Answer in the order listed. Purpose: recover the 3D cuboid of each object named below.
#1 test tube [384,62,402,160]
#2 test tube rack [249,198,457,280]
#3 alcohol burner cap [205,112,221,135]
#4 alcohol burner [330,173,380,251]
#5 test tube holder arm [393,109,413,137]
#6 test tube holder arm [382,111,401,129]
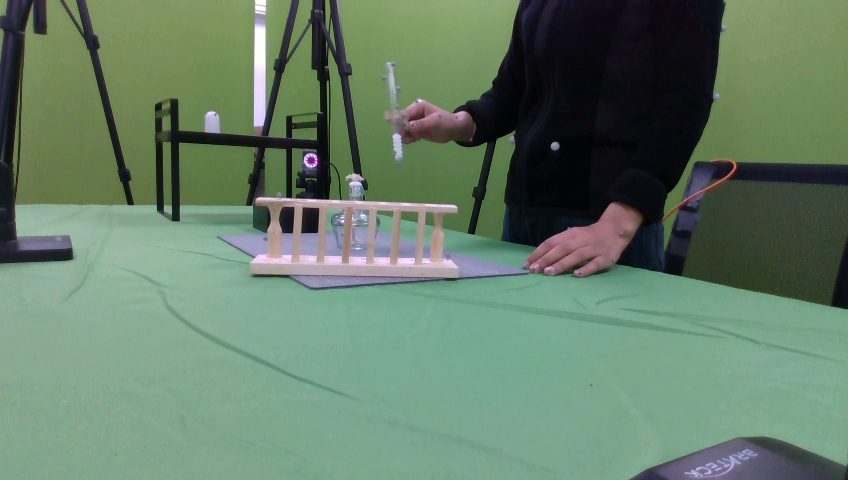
[{"bbox_3d":[-0.048,-0.198,0.931,0.017,0.150,0.017,-5,1,0],"label":"test tube"},{"bbox_3d":[-0.082,-0.002,0.733,0.243,0.085,0.066,2,8,-7],"label":"test tube rack"},{"bbox_3d":[-0.443,-0.245,1.270,0.034,0.048,0.034,3,8,0],"label":"alcohol burner cap"},{"bbox_3d":[-0.107,-0.044,0.938,0.078,0.119,0.078,1,6,0],"label":"alcohol burner"},{"bbox_3d":[-0.034,-0.191,0.998,0.013,0.015,0.178,-7,0,7],"label":"test tube holder arm"},{"bbox_3d":[-0.047,-0.189,0.955,0.010,0.015,0.088,-7,0,16],"label":"test tube holder arm"}]
